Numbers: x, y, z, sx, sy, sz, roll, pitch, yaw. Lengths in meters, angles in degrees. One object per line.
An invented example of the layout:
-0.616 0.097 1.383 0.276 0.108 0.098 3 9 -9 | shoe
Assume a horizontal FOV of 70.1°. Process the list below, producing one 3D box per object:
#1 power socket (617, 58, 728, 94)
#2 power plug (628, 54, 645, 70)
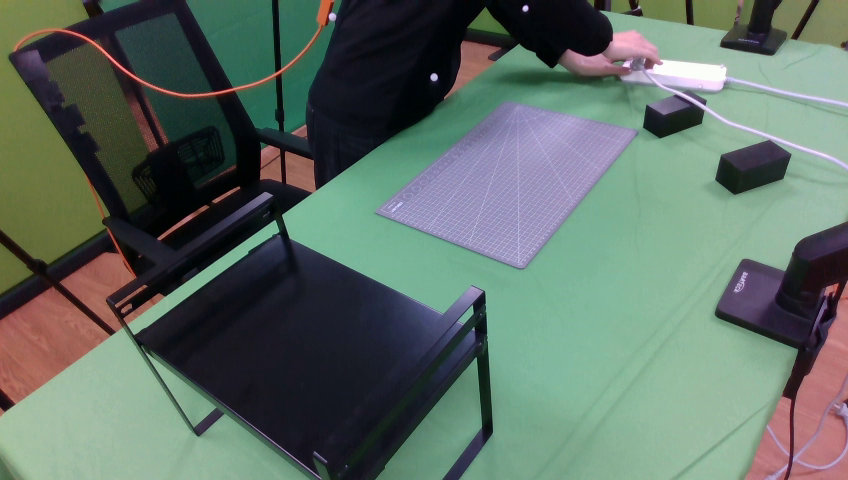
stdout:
0.533 -0.355 1.302 0.225 0.033 0.072 14 46 23 | power socket
0.450 -0.371 1.299 0.035 0.053 0.073 24 48 32 | power plug
